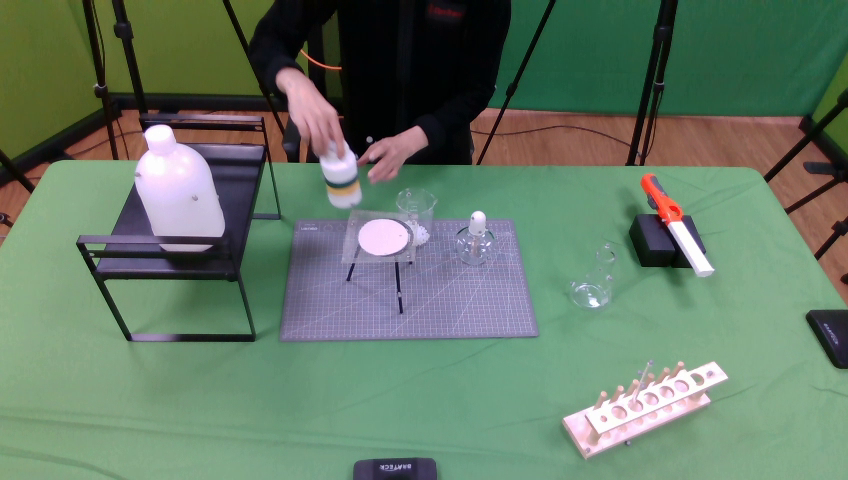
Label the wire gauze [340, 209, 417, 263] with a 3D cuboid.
[{"bbox_3d":[-0.074,-0.006,1.023,0.121,0.011,0.124,3,46,0],"label":"wire gauze"}]

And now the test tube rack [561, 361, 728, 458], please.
[{"bbox_3d":[0.341,0.248,0.940,0.243,0.085,0.066,-15,49,-18],"label":"test tube rack"}]

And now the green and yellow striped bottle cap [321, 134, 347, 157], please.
[{"bbox_3d":[-0.157,-0.164,1.053,0.045,0.020,0.045,2,47,-1],"label":"green and yellow striped bottle cap"}]

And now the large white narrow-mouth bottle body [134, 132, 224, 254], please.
[{"bbox_3d":[-0.358,-0.075,0.875,0.102,0.195,0.101,1,48,-1],"label":"large white narrow-mouth bottle body"}]

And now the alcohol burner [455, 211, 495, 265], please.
[{"bbox_3d":[0.097,-0.010,1.147,0.078,0.120,0.077,1,47,-1],"label":"alcohol burner"}]

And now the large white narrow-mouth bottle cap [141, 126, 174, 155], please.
[{"bbox_3d":[-0.356,-0.133,0.810,0.038,0.024,0.037,2,48,-1],"label":"large white narrow-mouth bottle cap"}]

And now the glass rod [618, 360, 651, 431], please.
[{"bbox_3d":[0.298,0.227,0.865,0.008,0.201,0.008,-2,48,2],"label":"glass rod"}]

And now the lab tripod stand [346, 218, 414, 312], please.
[{"bbox_3d":[-0.070,0.037,1.075,0.148,0.132,0.147,1,48,-1],"label":"lab tripod stand"}]

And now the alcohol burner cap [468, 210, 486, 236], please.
[{"bbox_3d":[0.100,-0.034,1.119,0.034,0.048,0.033,0,53,0],"label":"alcohol burner cap"}]

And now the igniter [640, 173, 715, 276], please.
[{"bbox_3d":[0.495,-0.039,1.204,0.057,0.025,0.274,-2,47,-13],"label":"igniter"}]

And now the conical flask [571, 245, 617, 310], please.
[{"bbox_3d":[0.313,0.064,1.089,0.075,0.122,0.075,2,46,-2],"label":"conical flask"}]

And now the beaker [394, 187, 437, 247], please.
[{"bbox_3d":[-0.018,-0.042,1.179,0.084,0.101,0.073,-8,48,-13],"label":"beaker"}]

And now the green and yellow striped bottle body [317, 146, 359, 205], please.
[{"bbox_3d":[-0.155,-0.125,1.093,0.063,0.120,0.063,-2,47,3],"label":"green and yellow striped bottle body"}]
